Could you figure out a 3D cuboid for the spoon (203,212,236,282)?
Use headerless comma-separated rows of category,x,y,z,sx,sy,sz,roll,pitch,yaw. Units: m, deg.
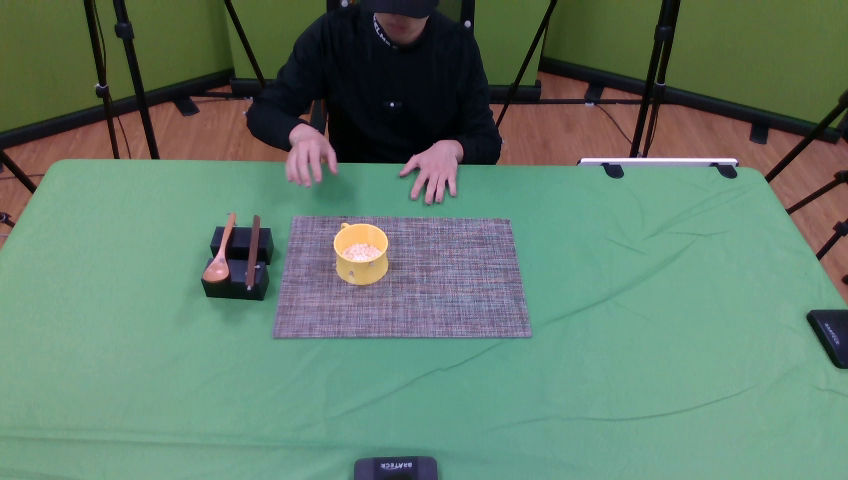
spoon,-0.361,0.009,1.097,0.041,0.022,0.192,0,44,-2

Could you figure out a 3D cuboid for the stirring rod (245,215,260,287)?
stirring rod,-0.310,0.016,1.096,0.014,0.006,0.175,27,36,-32

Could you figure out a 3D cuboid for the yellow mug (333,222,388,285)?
yellow mug,-0.126,0.016,1.139,0.100,0.064,0.130,-24,51,-24
